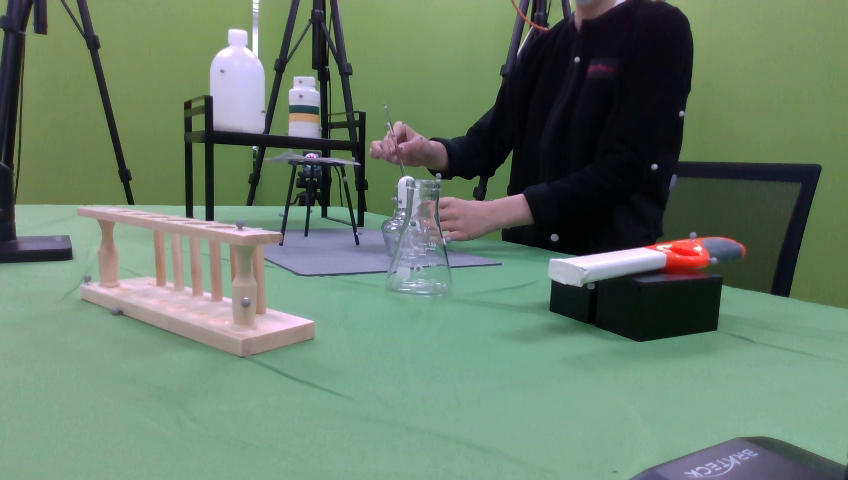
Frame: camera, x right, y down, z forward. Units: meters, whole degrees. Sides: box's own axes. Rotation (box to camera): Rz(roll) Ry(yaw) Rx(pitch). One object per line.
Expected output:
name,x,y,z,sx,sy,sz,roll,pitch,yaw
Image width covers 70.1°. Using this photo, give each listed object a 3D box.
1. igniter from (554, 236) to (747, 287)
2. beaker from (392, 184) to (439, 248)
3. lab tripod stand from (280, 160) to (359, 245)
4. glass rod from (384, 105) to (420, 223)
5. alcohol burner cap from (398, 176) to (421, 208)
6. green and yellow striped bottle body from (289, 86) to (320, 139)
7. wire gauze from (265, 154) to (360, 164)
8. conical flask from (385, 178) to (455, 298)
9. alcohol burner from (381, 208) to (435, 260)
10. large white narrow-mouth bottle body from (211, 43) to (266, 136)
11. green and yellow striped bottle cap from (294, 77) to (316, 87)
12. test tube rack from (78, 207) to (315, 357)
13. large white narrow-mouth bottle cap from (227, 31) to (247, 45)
igniter,0.221,0.017,0.558,0.278,0.025,0.057,-5,15,-39
beaker,-0.013,-0.040,0.993,0.074,0.100,0.083,-5,11,-42
lab tripod stand,-0.176,-0.062,0.973,0.148,0.131,0.148,1,7,0
glass rod,-0.037,-0.123,0.987,0.008,0.199,0.008,-15,6,2
alcohol burner cap,-0.023,-0.068,0.866,0.034,0.048,0.034,-5,8,1
green and yellow striped bottle body,-0.250,-0.272,1.259,0.063,0.119,0.063,2,8,0
wire gauze,-0.181,-0.129,0.969,0.126,0.011,0.121,-1,7,-27
conical flask,-0.002,-0.004,0.639,0.075,0.122,0.075,2,7,0
alcohol burner,-0.023,-0.032,0.871,0.078,0.119,0.078,1,6,0
large white narrow-mouth bottle body,-0.361,-0.302,1.176,0.102,0.194,0.102,1,7,0
green and yellow striped bottle cap,-0.247,-0.326,1.251,0.045,0.020,0.045,0,10,0
test tube rack,-0.196,0.023,0.500,0.241,0.085,0.067,8,8,37
large white narrow-mouth bottle cap,-0.361,-0.388,1.166,0.038,0.024,0.037,1,7,0
